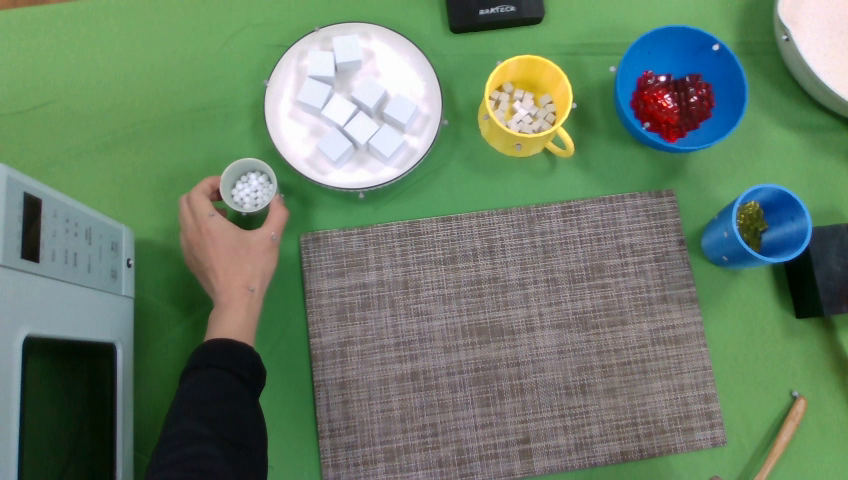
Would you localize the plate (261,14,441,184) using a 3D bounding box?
[{"bbox_3d":[-0.084,-0.164,0.717,0.208,0.039,0.207,0,80,-2],"label":"plate"}]

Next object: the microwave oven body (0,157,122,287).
[{"bbox_3d":[-0.467,0.178,0.525,0.326,0.261,0.440,-4,81,-4],"label":"microwave oven body"}]

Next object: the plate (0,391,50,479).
[{"bbox_3d":[-0.454,0.234,0.568,0.209,0.038,0.208,1,82,-3],"label":"plate"}]

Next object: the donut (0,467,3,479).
[{"bbox_3d":[-0.442,0.229,0.557,0.099,0.048,0.098,1,81,-5],"label":"donut"}]

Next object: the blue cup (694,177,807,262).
[{"bbox_3d":[0.354,-0.014,0.677,0.093,0.100,0.092,1,78,-3],"label":"blue cup"}]

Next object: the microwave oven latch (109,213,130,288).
[{"bbox_3d":[-0.336,0.012,0.657,0.030,0.029,0.079,-3,81,-3],"label":"microwave oven latch"}]

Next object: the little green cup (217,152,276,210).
[{"bbox_3d":[-0.196,-0.063,0.676,0.061,0.039,0.061,0,81,-3],"label":"little green cup"}]

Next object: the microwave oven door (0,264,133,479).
[{"bbox_3d":[-0.318,0.209,0.520,0.039,0.244,0.354,-5,80,-3],"label":"microwave oven door"}]

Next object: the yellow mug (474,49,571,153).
[{"bbox_3d":[0.123,-0.152,0.710,0.100,0.064,0.130,-44,85,-9],"label":"yellow mug"}]

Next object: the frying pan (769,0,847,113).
[{"bbox_3d":[0.567,-0.180,0.713,0.307,0.103,0.484,-2,72,-2],"label":"frying pan"}]

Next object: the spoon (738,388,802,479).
[{"bbox_3d":[0.373,0.245,0.673,0.041,0.022,0.193,35,80,16],"label":"spoon"}]

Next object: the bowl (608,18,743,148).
[{"bbox_3d":[0.282,-0.172,0.714,0.151,0.077,0.151,0,81,-2],"label":"bowl"}]
